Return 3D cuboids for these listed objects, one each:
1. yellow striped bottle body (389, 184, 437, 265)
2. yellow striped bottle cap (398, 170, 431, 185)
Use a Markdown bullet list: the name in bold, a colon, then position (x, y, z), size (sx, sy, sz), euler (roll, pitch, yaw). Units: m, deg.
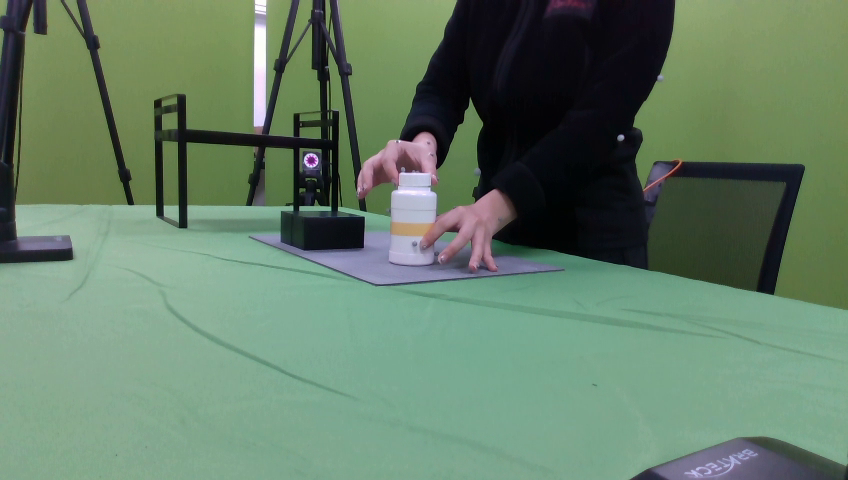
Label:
- **yellow striped bottle body**: position (-0.015, -0.030, 0.815), size (0.063, 0.120, 0.063), euler (2, 7, 0)
- **yellow striped bottle cap**: position (-0.012, -0.083, 0.807), size (0.044, 0.018, 0.044), euler (-2, 8, 1)
